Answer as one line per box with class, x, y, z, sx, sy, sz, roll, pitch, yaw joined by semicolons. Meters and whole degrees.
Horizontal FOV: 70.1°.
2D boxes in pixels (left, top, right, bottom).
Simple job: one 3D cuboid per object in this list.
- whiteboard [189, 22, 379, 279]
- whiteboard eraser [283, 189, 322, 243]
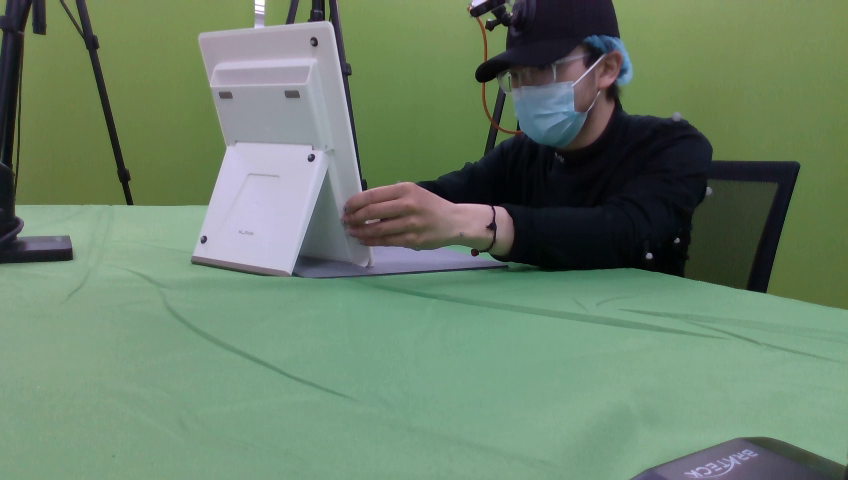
whiteboard;-0.207;-0.086;0.729;0.216;0.305;0.144;7;30;31
whiteboard eraser;-0.176;-0.031;0.866;0.042;0.055;0.112;-33;-2;-18
